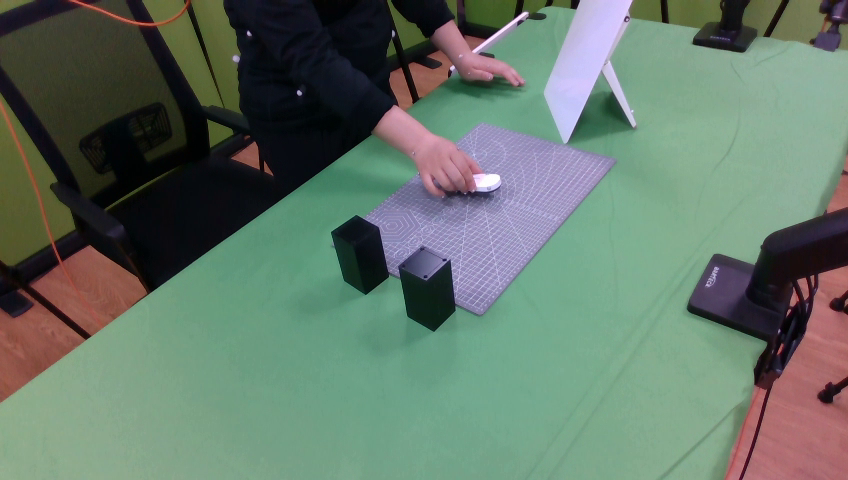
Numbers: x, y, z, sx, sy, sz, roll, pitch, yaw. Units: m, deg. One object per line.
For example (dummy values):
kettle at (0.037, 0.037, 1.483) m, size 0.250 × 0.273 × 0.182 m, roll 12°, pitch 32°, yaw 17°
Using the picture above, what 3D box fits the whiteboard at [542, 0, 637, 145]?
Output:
whiteboard at (0.365, -0.351, 1.160) m, size 0.144 × 0.305 × 0.216 m, roll 9°, pitch 39°, yaw -10°

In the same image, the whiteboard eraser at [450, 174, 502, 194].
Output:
whiteboard eraser at (0.090, -0.099, 1.055) m, size 0.100 × 0.019 × 0.041 m, roll 7°, pitch 42°, yaw 39°
